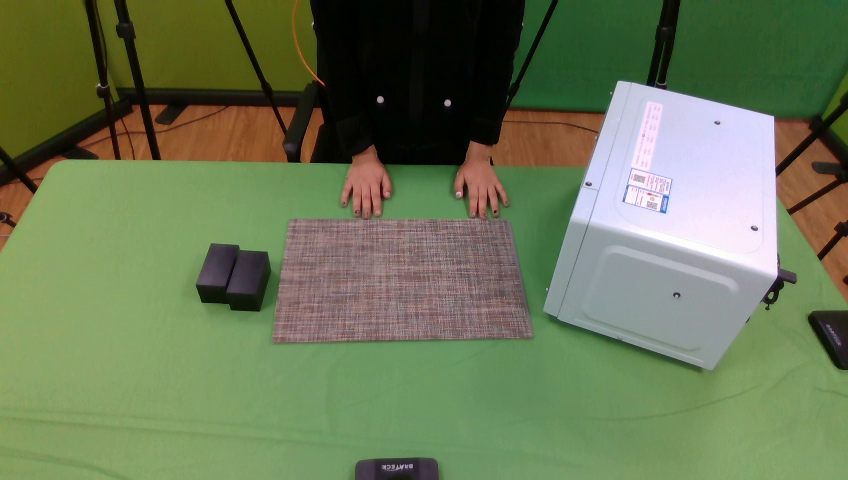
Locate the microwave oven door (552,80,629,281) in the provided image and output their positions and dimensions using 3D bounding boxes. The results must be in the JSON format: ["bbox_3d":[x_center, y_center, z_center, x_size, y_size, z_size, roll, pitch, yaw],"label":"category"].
[{"bbox_3d":[0.324,-0.116,1.156,0.039,0.245,0.354,18,48,13],"label":"microwave oven door"}]

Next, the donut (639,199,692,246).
[{"bbox_3d":[0.461,-0.034,1.159,0.099,0.048,0.098,1,62,-1],"label":"donut"}]

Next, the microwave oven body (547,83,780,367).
[{"bbox_3d":[0.445,-0.041,1.101,0.325,0.261,0.440,17,47,13],"label":"microwave oven body"}]

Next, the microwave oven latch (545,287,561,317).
[{"bbox_3d":[0.237,0.098,1.087,0.030,0.029,0.079,17,47,13],"label":"microwave oven latch"}]

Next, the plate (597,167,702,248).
[{"bbox_3d":[0.432,-0.061,1.176,0.209,0.038,0.208,8,48,-8],"label":"plate"}]
